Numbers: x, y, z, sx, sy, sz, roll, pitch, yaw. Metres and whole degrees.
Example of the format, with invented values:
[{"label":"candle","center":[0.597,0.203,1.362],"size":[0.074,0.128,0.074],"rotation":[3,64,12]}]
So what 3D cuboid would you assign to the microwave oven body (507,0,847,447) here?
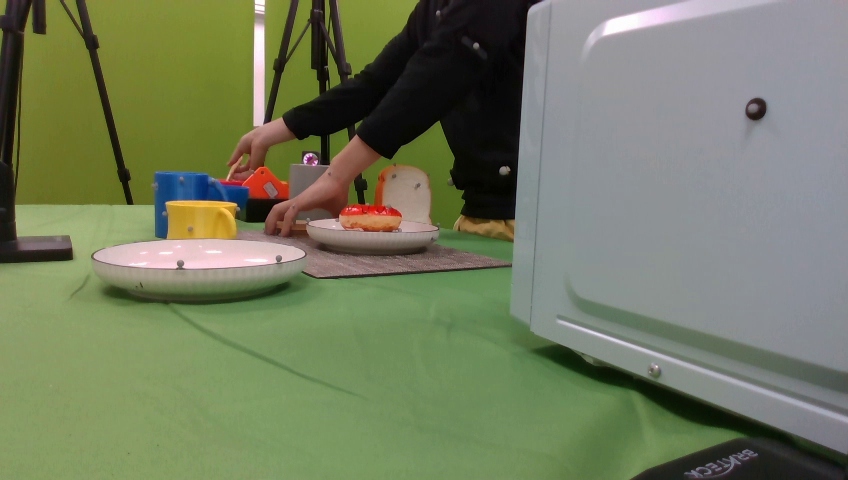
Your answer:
[{"label":"microwave oven body","center":[0.331,-0.042,0.425],"size":[0.444,0.260,0.324],"rotation":[-2,8,-31]}]

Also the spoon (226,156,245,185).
[{"label":"spoon","center":[-0.476,-0.145,1.491],"size":[0.041,0.022,0.193],"rotation":[0,51,12]}]

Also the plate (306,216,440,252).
[{"label":"plate","center":[-0.079,-0.011,0.950],"size":[0.209,0.038,0.209],"rotation":[2,8,0]}]

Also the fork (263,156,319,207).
[{"label":"fork","center":[-0.331,-0.144,1.506],"size":[0.207,0.018,0.028],"rotation":[-42,-18,22]}]

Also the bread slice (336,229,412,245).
[{"label":"bread slice","center":[-0.074,-0.005,0.938],"size":[0.105,0.019,0.131],"rotation":[-2,4,-19]}]

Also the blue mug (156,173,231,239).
[{"label":"blue mug","center":[-0.381,-0.057,1.004],"size":[0.117,0.106,0.082],"rotation":[0,8,-12]}]

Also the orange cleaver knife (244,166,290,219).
[{"label":"orange cleaver knife","center":[-0.300,-0.089,1.351],"size":[0.212,0.077,0.012],"rotation":[32,-11,-34]}]

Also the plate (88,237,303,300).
[{"label":"plate","center":[-0.233,0.029,0.637],"size":[0.208,0.039,0.207],"rotation":[2,7,0]}]

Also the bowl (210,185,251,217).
[{"label":"bowl","center":[-0.408,-0.064,1.155],"size":[0.151,0.077,0.151],"rotation":[2,8,0]}]

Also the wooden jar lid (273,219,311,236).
[{"label":"wooden jar lid","center":[-0.214,-0.023,1.080],"size":[0.108,0.020,0.108],"rotation":[2,7,0]}]

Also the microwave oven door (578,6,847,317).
[{"label":"microwave oven door","center":[0.294,-0.067,0.570],"size":[0.358,0.243,0.039],"rotation":[-3,9,-31]}]

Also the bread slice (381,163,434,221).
[{"label":"bread slice","center":[-0.034,-0.076,1.124],"size":[0.107,0.134,0.018],"rotation":[-4,1,-25]}]

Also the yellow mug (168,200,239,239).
[{"label":"yellow mug","center":[-0.319,-0.023,0.904],"size":[0.130,0.064,0.100],"rotation":[9,11,36]}]

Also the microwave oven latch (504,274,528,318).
[{"label":"microwave oven latch","center":[0.100,0.041,0.471],"size":[0.079,0.029,0.030],"rotation":[-1,7,-28]}]

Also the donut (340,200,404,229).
[{"label":"donut","center":[-0.081,-0.038,0.945],"size":[0.099,0.048,0.099],"rotation":[1,5,0]}]

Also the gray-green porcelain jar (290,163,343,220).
[{"label":"gray-green porcelain jar","center":[-0.218,-0.091,1.220],"size":[0.106,0.126,0.106],"rotation":[2,7,0]}]
